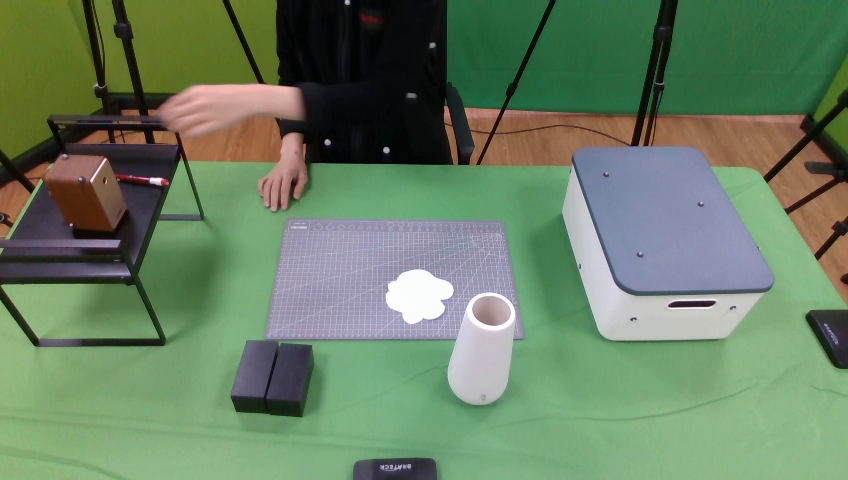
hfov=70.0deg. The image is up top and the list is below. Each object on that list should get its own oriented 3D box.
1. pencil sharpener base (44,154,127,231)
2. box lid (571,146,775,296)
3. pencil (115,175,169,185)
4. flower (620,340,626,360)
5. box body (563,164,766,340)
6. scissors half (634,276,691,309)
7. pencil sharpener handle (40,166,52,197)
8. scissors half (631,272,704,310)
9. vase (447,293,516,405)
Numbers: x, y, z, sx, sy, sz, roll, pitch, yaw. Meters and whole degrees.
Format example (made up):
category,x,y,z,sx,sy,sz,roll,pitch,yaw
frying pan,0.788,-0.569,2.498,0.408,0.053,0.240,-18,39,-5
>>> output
category,x,y,z,sx,sy,sz,roll,pitch,yaw
pencil sharpener base,-0.512,-0.071,0.918,0.077,0.107,0.061,3,46,0
box lid,0.424,-0.048,1.074,0.263,0.015,0.369,-1,46,-4
pencil,-0.523,-0.106,1.020,0.194,0.012,0.012,6,46,5
flower,0.416,0.065,1.186,0.038,0.044,0.360,29,64,-20
box body,0.421,0.003,1.130,0.254,0.161,0.361,0,46,-5
scissors half,0.454,0.096,1.144,0.175,0.040,0.013,-20,88,-31
pencil sharpener handle,-0.562,-0.085,0.911,0.030,0.068,0.036,3,57,0
scissors half,0.460,0.092,1.132,0.175,0.040,0.013,-22,83,-21
vase,0.091,0.168,0.921,0.098,0.201,0.097,3,47,-3
